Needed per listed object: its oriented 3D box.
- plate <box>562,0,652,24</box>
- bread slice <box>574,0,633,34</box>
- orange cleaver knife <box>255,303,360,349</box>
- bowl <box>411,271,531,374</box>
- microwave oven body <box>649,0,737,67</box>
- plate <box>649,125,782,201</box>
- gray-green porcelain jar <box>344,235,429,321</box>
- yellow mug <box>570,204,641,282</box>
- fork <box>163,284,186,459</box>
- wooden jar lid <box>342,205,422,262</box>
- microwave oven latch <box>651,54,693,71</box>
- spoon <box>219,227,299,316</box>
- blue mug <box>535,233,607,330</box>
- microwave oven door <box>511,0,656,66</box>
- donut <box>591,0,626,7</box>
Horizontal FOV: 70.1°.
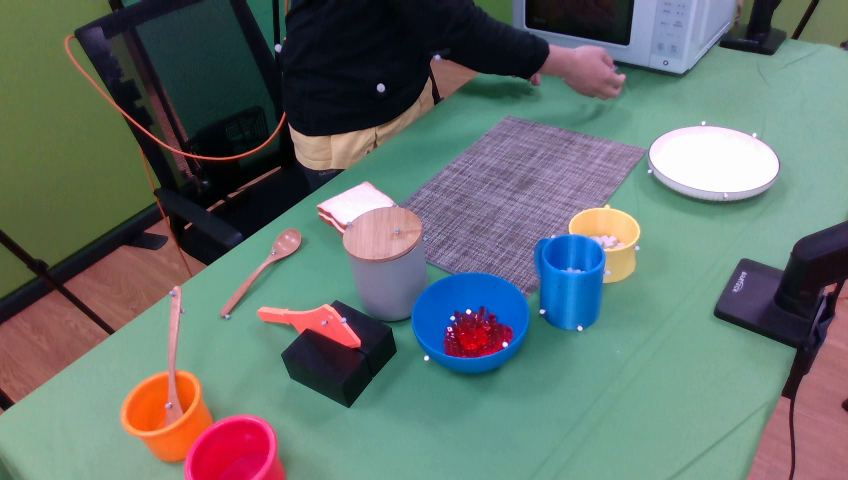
[{"bbox_3d":[0.440,-0.572,1.457,0.209,0.038,0.208,-6,45,6],"label":"plate"},{"bbox_3d":[0.431,-0.563,1.475,0.105,0.019,0.131,-30,67,-21],"label":"bread slice"},{"bbox_3d":[-0.161,0.115,0.813,0.210,0.077,0.012,-5,32,47],"label":"orange cleaver knife"},{"bbox_3d":[0.062,0.119,0.780,0.151,0.077,0.150,-4,40,4],"label":"bowl"},{"bbox_3d":[0.475,-0.602,1.411,0.438,0.261,0.327,23,50,32],"label":"microwave oven body"},{"bbox_3d":[0.493,-0.128,1.036,0.207,0.039,0.206,-4,41,4],"label":"plate"},{"bbox_3d":[-0.049,0.042,0.849,0.106,0.127,0.105,-4,41,4],"label":"gray-green porcelain jar"},{"bbox_3d":[0.268,-0.005,0.904,0.099,0.064,0.130,7,42,15],"label":"yellow mug"},{"bbox_3d":[-0.303,0.157,0.733,0.028,0.019,0.207,-3,84,13],"label":"fork"},{"bbox_3d":[-0.055,-0.005,0.808,0.108,0.021,0.108,-6,41,6],"label":"wooden jar lid"},{"bbox_3d":[0.532,-0.386,1.301,0.078,0.029,0.030,26,51,33],"label":"microwave oven latch"},{"bbox_3d":[-0.261,0.046,0.954,0.041,0.021,0.194,27,48,11],"label":"spoon"},{"bbox_3d":[0.191,0.048,0.824,0.082,0.106,0.115,-26,44,-20],"label":"blue mug"},{"bbox_3d":[0.351,-0.540,1.349,0.353,0.245,0.039,24,50,31],"label":"microwave oven door"},{"bbox_3d":[0.437,-0.589,1.433,0.099,0.048,0.098,-3,53,4],"label":"donut"}]
